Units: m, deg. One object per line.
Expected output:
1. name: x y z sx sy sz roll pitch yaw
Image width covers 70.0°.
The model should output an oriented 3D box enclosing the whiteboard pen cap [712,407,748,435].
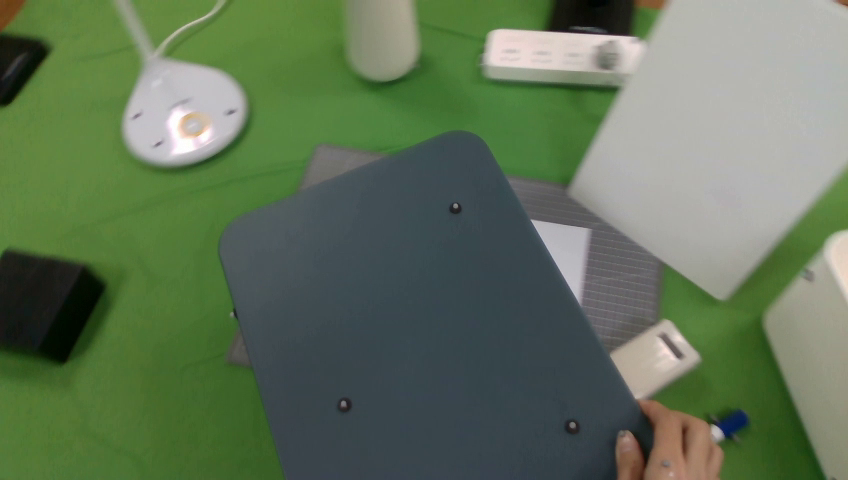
1. whiteboard pen cap: 0.301 0.180 0.599 0.033 0.018 0.018 -25 62 -10

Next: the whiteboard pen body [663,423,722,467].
1. whiteboard pen body: 0.249 0.205 0.588 0.141 0.017 0.017 -25 62 -11

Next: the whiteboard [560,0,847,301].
1. whiteboard: 0.320 -0.127 0.637 0.215 0.307 0.144 40 49 22

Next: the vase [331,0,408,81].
1. vase: -0.075 -0.301 0.775 0.098 0.202 0.097 -2 60 3

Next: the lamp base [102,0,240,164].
1. lamp base: -0.340 -0.212 0.749 0.160 0.182 0.177 -40 63 -18

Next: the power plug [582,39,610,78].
1. power plug: 0.222 -0.231 0.793 0.035 0.053 0.072 15 69 11

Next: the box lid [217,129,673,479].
1. box lid: -0.004 0.085 0.487 0.263 0.015 0.368 -23 65 -6

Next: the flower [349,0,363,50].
1. flower: -0.062 -0.330 0.697 0.044 0.362 0.038 -27 80 -21

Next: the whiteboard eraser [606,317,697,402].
1. whiteboard eraser: 0.214 0.128 0.613 0.113 0.042 0.055 -29 63 -12

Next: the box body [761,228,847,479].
1. box body: 0.491 0.168 0.513 0.254 0.162 0.360 -8 61 -2

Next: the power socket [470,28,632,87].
1. power socket: 0.177 -0.251 0.832 0.226 0.033 0.071 6 62 5
